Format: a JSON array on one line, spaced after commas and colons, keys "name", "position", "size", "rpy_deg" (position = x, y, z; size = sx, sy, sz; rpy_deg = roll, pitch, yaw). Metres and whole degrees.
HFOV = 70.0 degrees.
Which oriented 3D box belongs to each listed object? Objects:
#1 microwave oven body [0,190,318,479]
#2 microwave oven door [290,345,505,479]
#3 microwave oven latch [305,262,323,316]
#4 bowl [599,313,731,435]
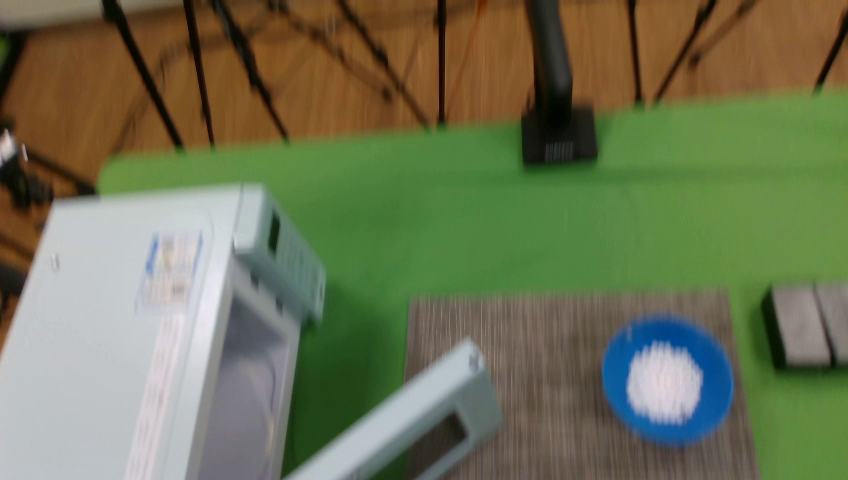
[{"name": "microwave oven body", "position": [-0.340, 0.194, 0.783], "size": [0.325, 0.262, 0.438], "rpy_deg": [-4, 62, 9]}, {"name": "microwave oven door", "position": [-0.067, 0.268, 0.679], "size": [0.356, 0.246, 0.039], "rpy_deg": [-36, 59, -8]}, {"name": "microwave oven latch", "position": [-0.172, 0.075, 0.925], "size": [0.030, 0.030, 0.078], "rpy_deg": [-3, 62, 10]}, {"name": "bowl", "position": [0.296, 0.175, 0.762], "size": [0.151, 0.077, 0.150], "rpy_deg": [-5, 61, 10]}]
